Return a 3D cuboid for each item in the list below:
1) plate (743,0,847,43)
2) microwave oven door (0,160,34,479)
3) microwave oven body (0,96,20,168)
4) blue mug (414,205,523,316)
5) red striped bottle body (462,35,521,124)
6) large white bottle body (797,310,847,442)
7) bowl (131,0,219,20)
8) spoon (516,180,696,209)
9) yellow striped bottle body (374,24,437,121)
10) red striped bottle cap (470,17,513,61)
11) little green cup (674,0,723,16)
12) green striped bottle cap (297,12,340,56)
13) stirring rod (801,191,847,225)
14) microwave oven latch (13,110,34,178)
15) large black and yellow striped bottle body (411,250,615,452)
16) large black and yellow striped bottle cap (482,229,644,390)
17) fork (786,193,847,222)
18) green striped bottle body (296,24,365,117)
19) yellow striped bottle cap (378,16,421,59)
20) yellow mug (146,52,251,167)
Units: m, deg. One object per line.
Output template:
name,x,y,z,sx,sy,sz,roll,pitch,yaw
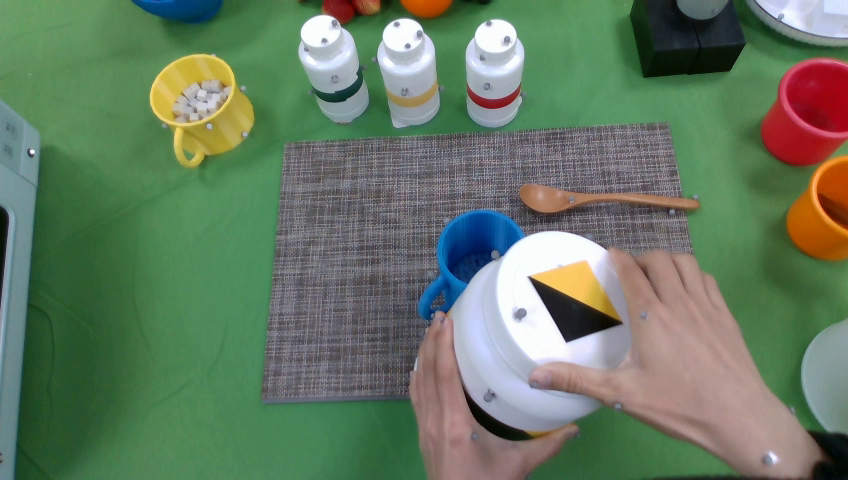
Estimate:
plate,0.480,-0.320,0.738,0.209,0.038,0.207,-1,69,4
microwave oven door,-0.449,0.051,0.532,0.039,0.245,0.353,-11,68,1
microwave oven body,-0.599,0.042,0.552,0.326,0.262,0.438,-11,68,0
blue mug,0.040,0.035,0.588,0.116,0.106,0.081,-33,67,-10
red striped bottle body,0.074,-0.187,0.672,0.063,0.120,0.062,-2,67,4
large white bottle body,0.413,0.101,0.494,0.130,0.186,0.129,-2,67,4
bowl,-0.316,-0.342,0.787,0.151,0.077,0.150,-1,68,4
spoon,0.196,-0.047,0.655,0.193,0.022,0.041,1,47,5
yellow striped bottle body,-0.020,-0.192,0.681,0.063,0.121,0.062,-2,67,5
red striped bottle cap,0.069,-0.207,0.623,0.044,0.018,0.044,0,66,0
little green cup,0.313,-0.285,0.682,0.061,0.039,0.061,-1,66,3
green striped bottle cap,-0.112,-0.219,0.642,0.044,0.020,0.044,-1,68,2
stirring rod,0.406,-0.015,0.568,0.014,0.006,0.175,0,25,2
microwave oven latch,-0.477,-0.110,0.707,0.030,0.030,0.078,-9,68,0
large black and yellow striped bottle body,0.073,0.086,0.484,0.131,0.185,0.129,9,58,-14
large black and yellow striped bottle cap,0.096,0.044,0.413,0.115,0.019,0.114,10,57,-15
fork,0.435,-0.015,0.558,0.028,0.019,0.205,-29,24,-15
green striped bottle body,-0.107,-0.198,0.690,0.063,0.120,0.062,-1,68,4
yellow striped bottle cap,-0.026,-0.212,0.633,0.044,0.019,0.044,0,65,0
yellow mug,-0.267,-0.148,0.712,0.100,0.064,0.130,7,69,7
